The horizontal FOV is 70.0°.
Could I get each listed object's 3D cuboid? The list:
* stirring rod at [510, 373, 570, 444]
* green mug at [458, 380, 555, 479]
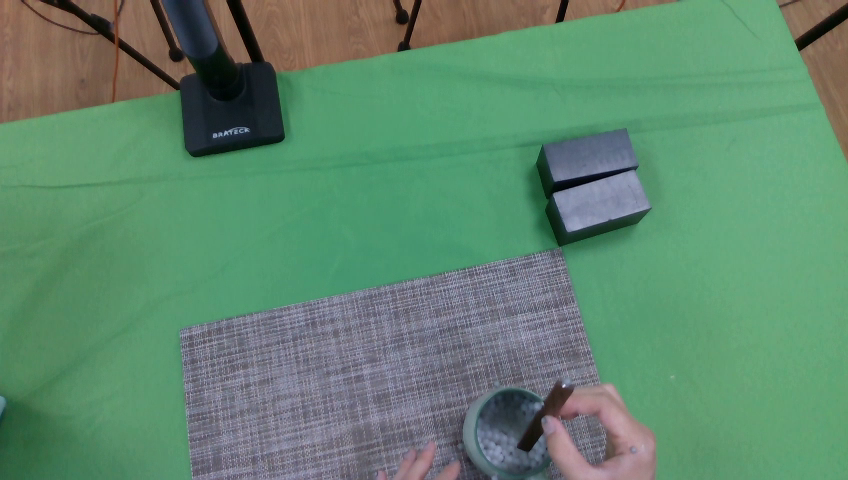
[{"bbox_3d":[0.094,0.146,0.510,0.014,0.177,0.006,17,58,7],"label":"stirring rod"},{"bbox_3d":[0.090,0.199,0.599,0.092,0.105,0.124,-28,74,-8],"label":"green mug"}]
